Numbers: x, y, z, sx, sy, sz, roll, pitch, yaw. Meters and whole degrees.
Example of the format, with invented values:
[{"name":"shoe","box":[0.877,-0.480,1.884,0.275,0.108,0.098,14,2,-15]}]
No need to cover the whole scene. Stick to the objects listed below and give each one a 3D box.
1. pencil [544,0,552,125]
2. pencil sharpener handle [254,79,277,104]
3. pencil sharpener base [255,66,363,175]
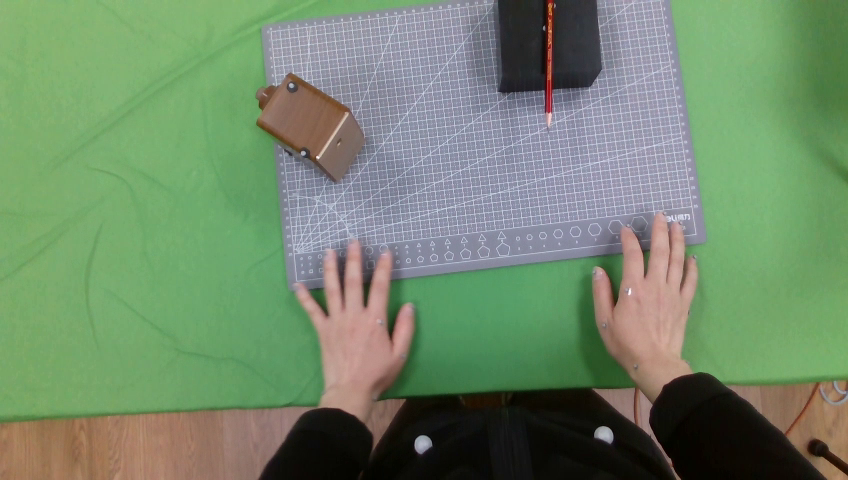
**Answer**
[{"name":"pencil","box":[0.125,-0.210,0.610,0.012,0.012,0.193,1,85,2]},{"name":"pencil sharpener handle","box":[-0.157,-0.148,0.604,0.030,0.068,0.036,33,95,5]},{"name":"pencil sharpener base","box":[-0.114,-0.118,0.613,0.076,0.107,0.061,33,88,5]}]
